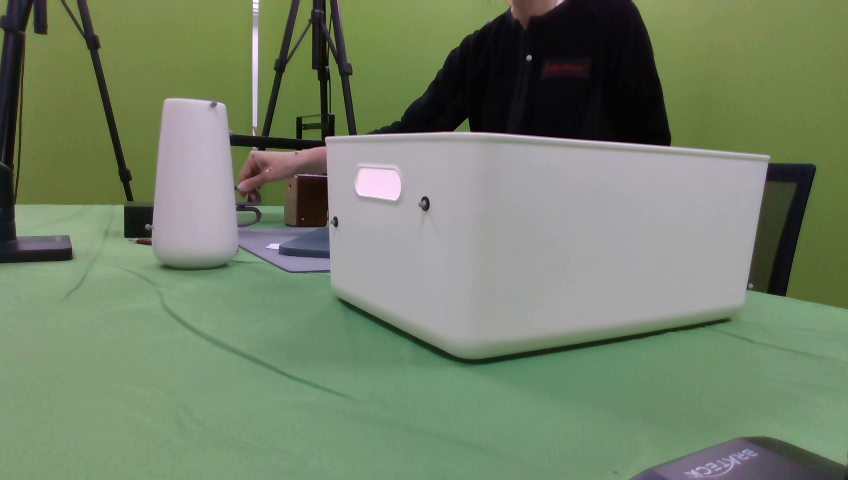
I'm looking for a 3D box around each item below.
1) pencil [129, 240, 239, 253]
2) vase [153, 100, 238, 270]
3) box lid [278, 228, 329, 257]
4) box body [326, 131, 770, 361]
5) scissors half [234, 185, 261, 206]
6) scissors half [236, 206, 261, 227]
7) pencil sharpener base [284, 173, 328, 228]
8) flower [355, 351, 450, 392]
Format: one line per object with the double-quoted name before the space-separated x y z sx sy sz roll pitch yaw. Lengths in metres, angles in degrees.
"pencil" -0.350 0.008 0.874 0.193 0.012 0.012 3 7 19
"vase" -0.278 -0.066 0.736 0.098 0.200 0.098 2 9 0
"box lid" -0.019 0.012 0.950 0.371 0.015 0.263 4 7 4
"box body" 0.112 -0.010 0.583 0.366 0.160 0.253 -2 9 -33
"scissors half" -0.372 -0.069 1.049 0.176 0.040 0.012 -11 16 -25
"scissors half" -0.373 -0.049 1.053 0.176 0.040 0.013 7 3 -28
"pencil sharpener base" -0.239 -0.081 1.231 0.077 0.107 0.061 -2 8 -36
"flower" 0.105 0.076 0.586 0.363 0.044 0.038 -20 39 -14
